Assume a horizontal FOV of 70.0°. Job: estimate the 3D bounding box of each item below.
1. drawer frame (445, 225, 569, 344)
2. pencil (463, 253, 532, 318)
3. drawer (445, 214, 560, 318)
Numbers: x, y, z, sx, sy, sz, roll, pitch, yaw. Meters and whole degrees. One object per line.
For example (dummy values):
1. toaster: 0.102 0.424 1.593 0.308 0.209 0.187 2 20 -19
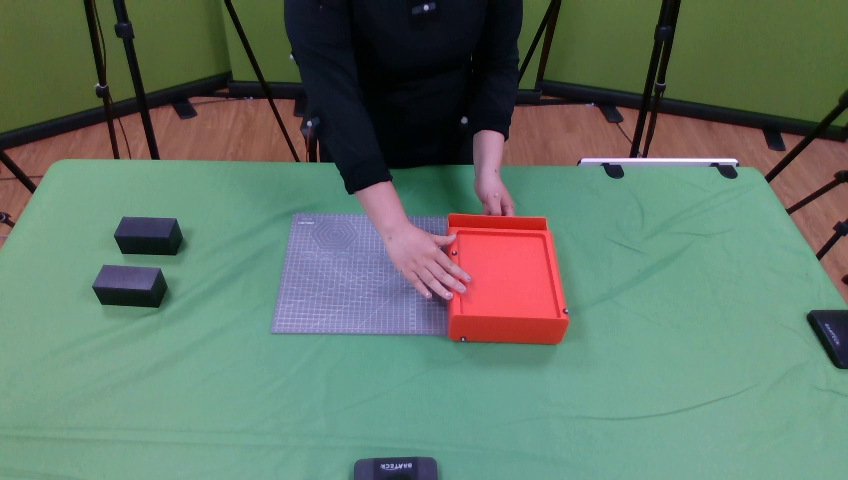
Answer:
1. drawer frame: 0.141 0.077 1.089 0.202 0.083 0.212 2 46 -3
2. pencil: 0.131 0.080 1.120 0.012 0.012 0.193 -26 51 -26
3. drawer: 0.140 0.049 1.115 0.195 0.073 0.210 3 47 -4
